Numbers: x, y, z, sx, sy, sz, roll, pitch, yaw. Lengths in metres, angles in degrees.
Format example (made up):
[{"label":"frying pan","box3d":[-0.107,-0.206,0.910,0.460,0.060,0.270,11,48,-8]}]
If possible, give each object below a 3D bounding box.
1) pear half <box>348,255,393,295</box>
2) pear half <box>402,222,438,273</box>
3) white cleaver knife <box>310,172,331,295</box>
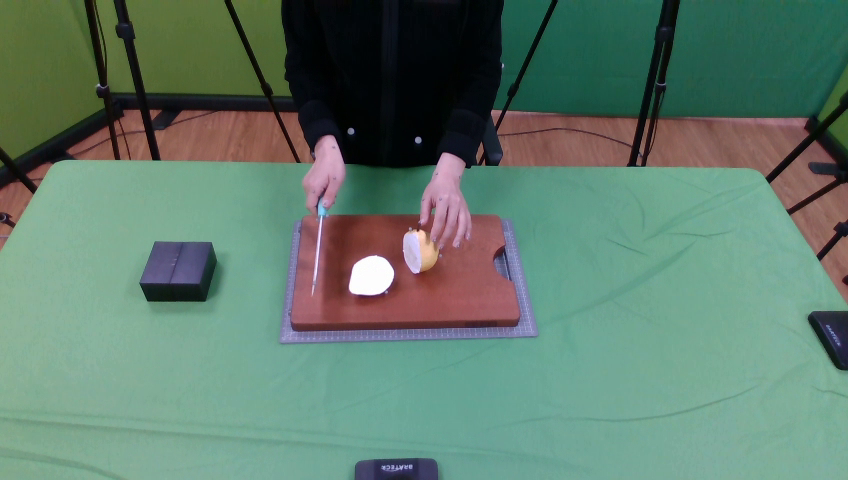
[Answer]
[{"label":"pear half","box3d":[-0.098,0.069,1.076,0.088,0.031,0.070,-38,74,-20]},{"label":"pear half","box3d":[-0.002,0.005,1.093,0.056,0.110,0.076,-24,56,-25]},{"label":"white cleaver knife","box3d":[-0.194,-0.020,1.098,0.021,0.066,0.284,10,45,-11]}]
